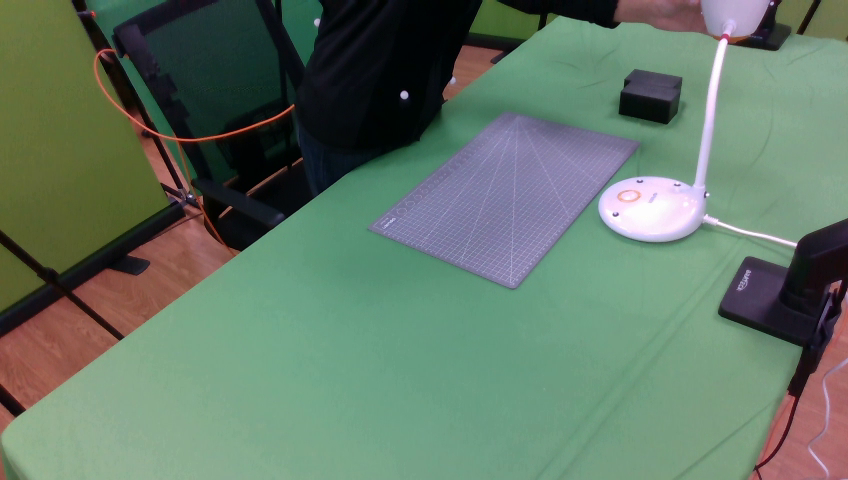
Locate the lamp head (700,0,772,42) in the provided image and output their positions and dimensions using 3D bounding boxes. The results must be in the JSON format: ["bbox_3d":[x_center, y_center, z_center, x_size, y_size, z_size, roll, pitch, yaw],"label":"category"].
[{"bbox_3d":[0.472,-0.364,0.915,0.112,0.123,0.112,-7,34,5],"label":"lamp head"}]

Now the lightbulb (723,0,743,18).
[{"bbox_3d":[0.463,-0.387,0.905,0.059,0.108,0.059,-15,34,11],"label":"lightbulb"}]

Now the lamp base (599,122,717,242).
[{"bbox_3d":[0.367,-0.108,0.919,0.178,0.181,0.160,13,45,20],"label":"lamp base"}]
